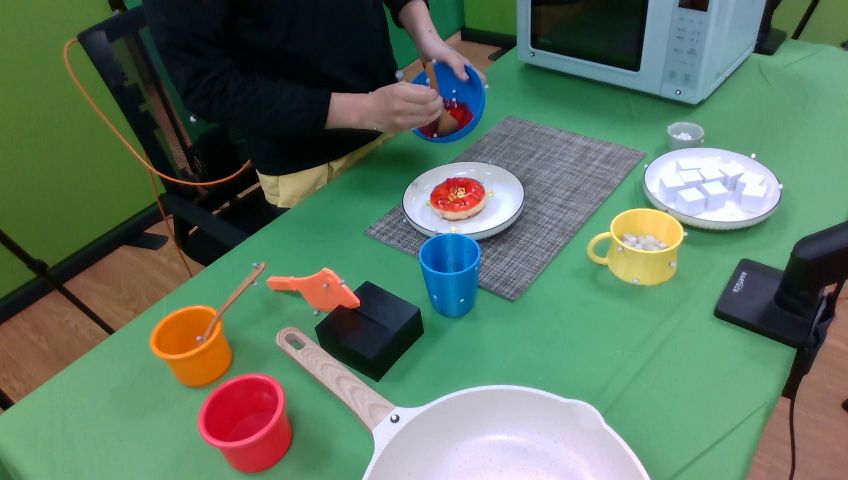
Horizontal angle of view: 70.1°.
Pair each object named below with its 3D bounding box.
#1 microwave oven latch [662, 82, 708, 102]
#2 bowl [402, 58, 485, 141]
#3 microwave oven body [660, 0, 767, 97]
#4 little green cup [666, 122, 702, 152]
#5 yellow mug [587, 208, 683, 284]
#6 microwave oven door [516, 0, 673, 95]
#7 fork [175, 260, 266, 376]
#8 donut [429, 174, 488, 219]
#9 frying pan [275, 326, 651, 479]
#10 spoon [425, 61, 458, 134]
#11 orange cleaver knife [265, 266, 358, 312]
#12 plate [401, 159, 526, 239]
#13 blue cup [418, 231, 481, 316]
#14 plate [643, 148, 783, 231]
[{"bbox_3d":[0.518,-0.299,1.203,0.078,0.029,0.030,29,53,35],"label":"microwave oven latch"},{"bbox_3d":[0.044,-0.233,1.067,0.151,0.077,0.151,-6,71,19],"label":"bowl"},{"bbox_3d":[0.473,-0.516,1.313,0.438,0.261,0.327,26,51,34],"label":"microwave oven body"},{"bbox_3d":[0.471,-0.184,1.102,0.061,0.039,0.061,-5,40,4],"label":"little green cup"},{"bbox_3d":[0.305,0.009,0.884,0.131,0.064,0.099,-4,41,5],"label":"yellow mug"},{"bbox_3d":[0.344,-0.458,1.256,0.353,0.245,0.039,26,51,33],"label":"microwave oven door"},{"bbox_3d":[-0.268,0.103,0.792,0.207,0.019,0.028,-51,41,16],"label":"fork"},{"bbox_3d":[0.058,-0.075,1.015,0.099,0.048,0.098,-5,38,5],"label":"donut"},{"bbox_3d":[0.004,0.229,0.641,0.484,0.103,0.308,34,54,28],"label":"frying pan"},{"bbox_3d":[0.024,-0.224,0.974,0.041,0.195,0.021,-23,62,3],"label":"spoon"},{"bbox_3d":[-0.164,0.073,0.864,0.210,0.077,0.012,-6,31,50],"label":"orange cleaver knife"},{"bbox_3d":[0.067,-0.065,1.019,0.209,0.038,0.208,-4,40,4],"label":"plate"},{"bbox_3d":[0.040,0.053,0.843,0.092,0.100,0.092,-4,43,4],"label":"blue cup"},{"bbox_3d":[0.464,-0.079,0.985,0.207,0.039,0.206,-4,40,4],"label":"plate"}]
